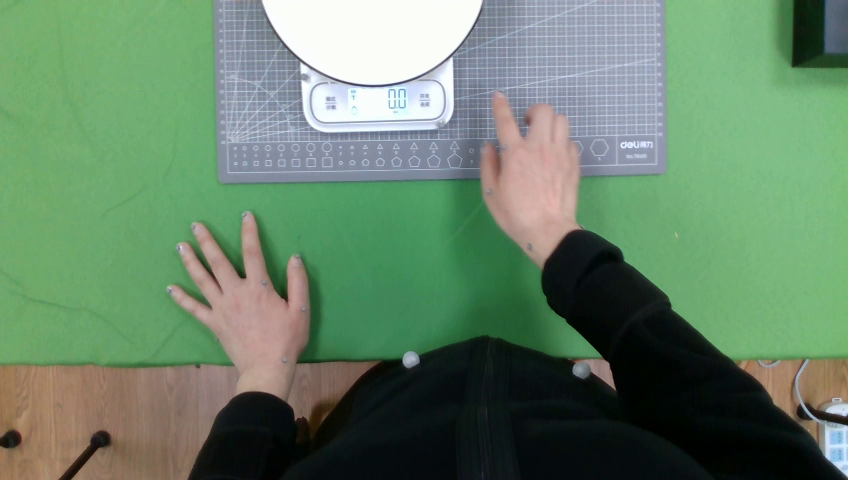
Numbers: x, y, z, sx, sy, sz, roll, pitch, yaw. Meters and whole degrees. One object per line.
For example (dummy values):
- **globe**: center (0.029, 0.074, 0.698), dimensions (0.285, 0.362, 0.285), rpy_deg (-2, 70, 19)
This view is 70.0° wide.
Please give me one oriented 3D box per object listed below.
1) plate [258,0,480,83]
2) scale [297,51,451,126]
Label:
- **plate**: center (-0.049, -0.245, 0.556), dimensions (0.209, 0.038, 0.209), rpy_deg (0, 91, -2)
- **scale**: center (-0.050, -0.215, 0.590), dimensions (0.149, 0.031, 0.201), rpy_deg (-2, 92, -1)
